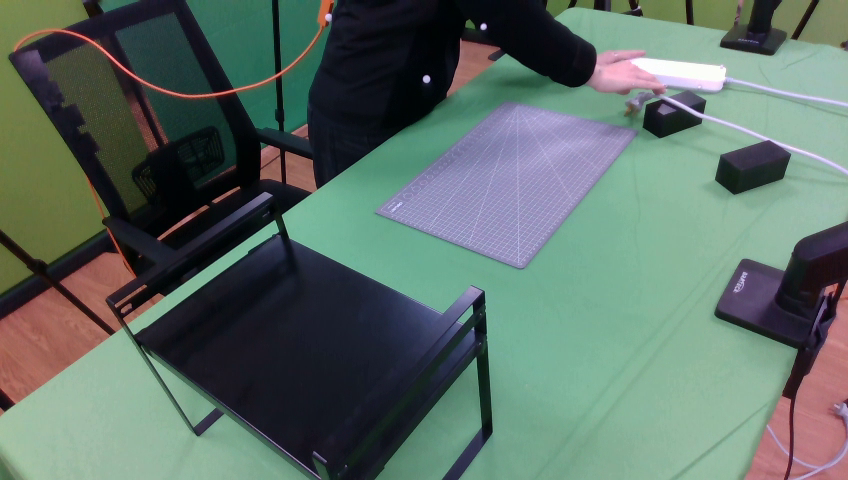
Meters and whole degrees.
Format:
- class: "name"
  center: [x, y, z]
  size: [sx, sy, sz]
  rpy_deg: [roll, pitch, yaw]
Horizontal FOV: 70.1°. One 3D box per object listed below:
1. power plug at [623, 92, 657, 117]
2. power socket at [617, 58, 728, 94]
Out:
- class: "power plug"
  center: [0.421, -0.270, 1.198]
  size: [0.035, 0.072, 0.052]
  rpy_deg: [34, 91, -3]
- class: "power socket"
  center: [0.532, -0.355, 1.301]
  size: [0.225, 0.033, 0.072]
  rpy_deg: [15, 46, 23]
